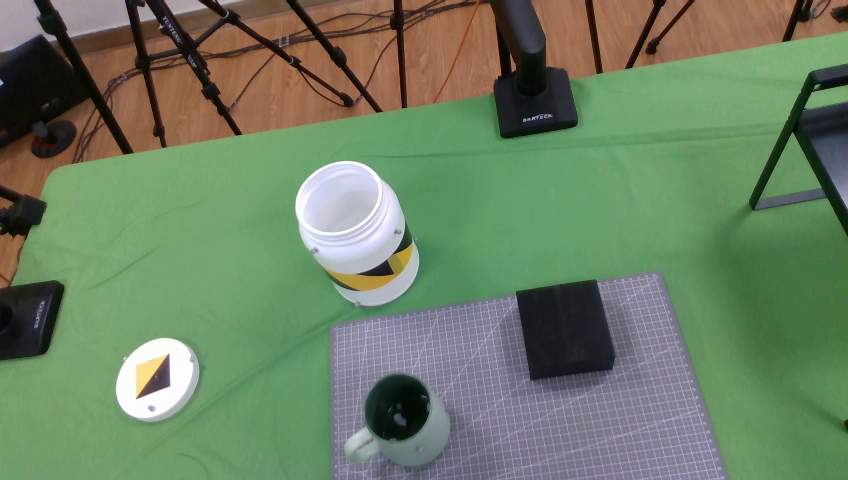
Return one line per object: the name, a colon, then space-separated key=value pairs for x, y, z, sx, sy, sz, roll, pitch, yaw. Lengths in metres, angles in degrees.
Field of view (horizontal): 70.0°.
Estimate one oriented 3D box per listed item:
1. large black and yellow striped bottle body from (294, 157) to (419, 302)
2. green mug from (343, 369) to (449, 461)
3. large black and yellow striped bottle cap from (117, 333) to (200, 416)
large black and yellow striped bottle body: x=-0.086 y=-0.011 z=0.796 sx=0.130 sy=0.186 sz=0.129 roll=-5 pitch=59 yaw=9
green mug: x=-0.035 y=0.212 z=0.703 sx=0.125 sy=0.106 sz=0.091 roll=-32 pitch=60 yaw=-7
large black and yellow striped bottle cap: x=-0.369 y=0.185 z=0.841 sx=0.115 sy=0.019 sz=0.114 roll=-5 pitch=59 yaw=9
